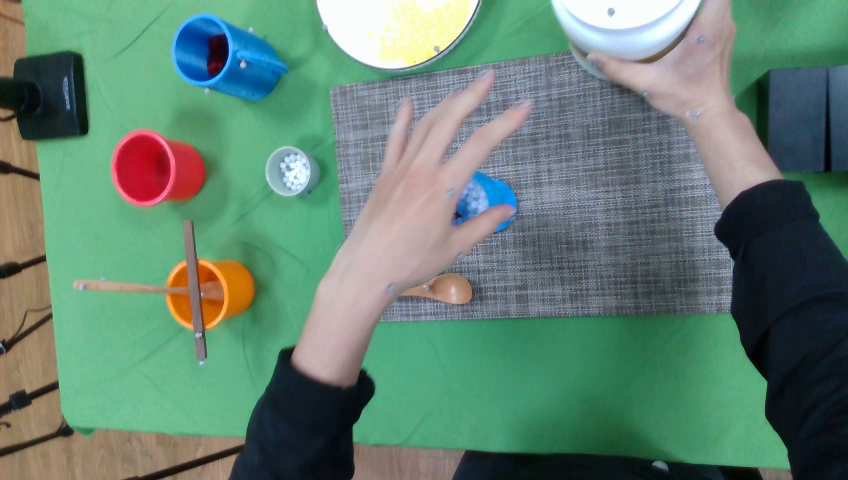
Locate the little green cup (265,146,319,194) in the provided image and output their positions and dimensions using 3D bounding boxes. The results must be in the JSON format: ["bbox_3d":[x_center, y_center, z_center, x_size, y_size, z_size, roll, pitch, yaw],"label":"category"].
[{"bbox_3d":[-0.165,-0.088,0.768,0.061,0.039,0.061,1,95,16],"label":"little green cup"}]

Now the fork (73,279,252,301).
[{"bbox_3d":[-0.325,0.061,0.767,0.209,0.018,0.028,5,104,-28],"label":"fork"}]

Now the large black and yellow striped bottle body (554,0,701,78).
[{"bbox_3d":[0.189,-0.231,0.558,0.130,0.184,0.131,1,94,19],"label":"large black and yellow striped bottle body"}]

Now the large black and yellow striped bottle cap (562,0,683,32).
[{"bbox_3d":[0.160,-0.226,0.479,0.114,0.019,0.115,1,93,19],"label":"large black and yellow striped bottle cap"}]

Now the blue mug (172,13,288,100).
[{"bbox_3d":[-0.224,-0.219,0.739,0.116,0.106,0.082,10,97,14],"label":"blue mug"}]

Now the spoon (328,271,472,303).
[{"bbox_3d":[-0.034,0.062,0.748,0.193,0.021,0.042,-5,114,16],"label":"spoon"}]

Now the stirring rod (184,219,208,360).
[{"bbox_3d":[-0.284,0.062,0.753,0.014,0.006,0.176,-4,93,17],"label":"stirring rod"}]

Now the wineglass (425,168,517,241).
[{"bbox_3d":[0.055,-0.038,0.637,0.073,0.172,0.074,1,94,16],"label":"wineglass"}]

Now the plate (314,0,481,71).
[{"bbox_3d":[-0.028,-0.304,0.713,0.208,0.038,0.209,1,95,15],"label":"plate"}]
